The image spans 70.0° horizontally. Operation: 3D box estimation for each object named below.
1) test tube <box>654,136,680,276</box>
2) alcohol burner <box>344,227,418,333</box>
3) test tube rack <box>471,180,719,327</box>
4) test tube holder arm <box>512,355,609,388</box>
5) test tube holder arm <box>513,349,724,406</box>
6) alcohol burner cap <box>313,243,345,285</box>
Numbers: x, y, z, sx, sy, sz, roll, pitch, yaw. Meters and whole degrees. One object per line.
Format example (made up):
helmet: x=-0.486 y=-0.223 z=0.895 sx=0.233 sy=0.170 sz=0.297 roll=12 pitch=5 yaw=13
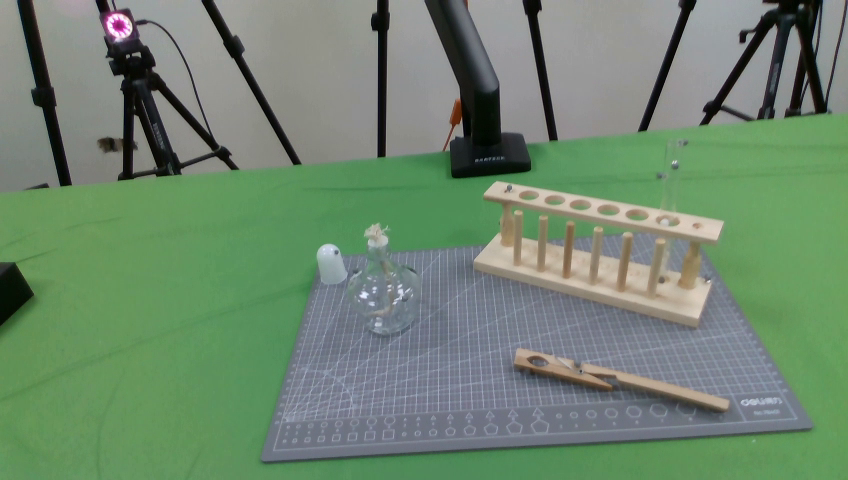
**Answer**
test tube: x=0.235 y=-0.029 z=0.592 sx=0.017 sy=0.151 sz=0.017 roll=-5 pitch=30 yaw=3
alcohol burner: x=-0.045 y=0.036 z=0.613 sx=0.078 sy=0.120 sz=0.077 roll=-4 pitch=35 yaw=3
test tube rack: x=0.169 y=0.007 z=0.641 sx=0.240 sy=0.086 sz=0.066 roll=14 pitch=39 yaw=29
test tube holder arm: x=0.123 y=0.118 z=0.545 sx=0.087 sy=0.015 sz=0.010 roll=9 pitch=71 yaw=21
test tube holder arm: x=0.166 y=0.119 z=0.531 sx=0.177 sy=0.015 sz=0.013 roll=8 pitch=70 yaw=20
alcohol burner cap: x=-0.113 y=0.025 z=0.707 sx=0.034 sy=0.048 sz=0.033 roll=-4 pitch=34 yaw=3
